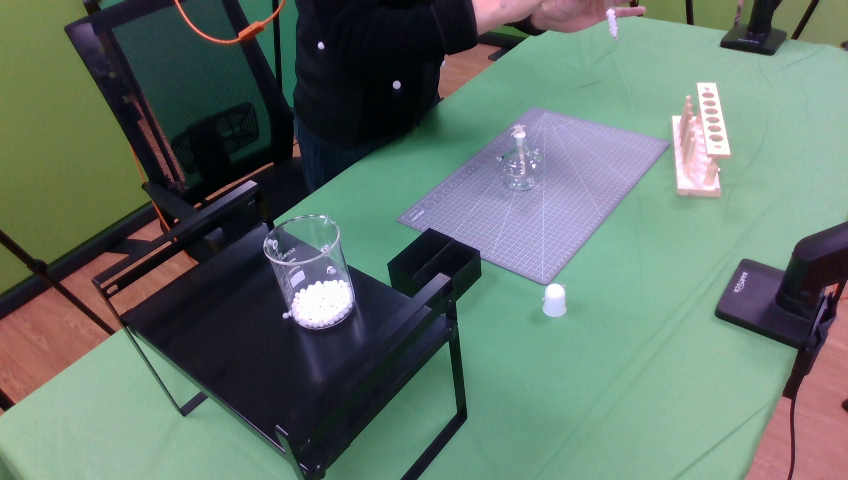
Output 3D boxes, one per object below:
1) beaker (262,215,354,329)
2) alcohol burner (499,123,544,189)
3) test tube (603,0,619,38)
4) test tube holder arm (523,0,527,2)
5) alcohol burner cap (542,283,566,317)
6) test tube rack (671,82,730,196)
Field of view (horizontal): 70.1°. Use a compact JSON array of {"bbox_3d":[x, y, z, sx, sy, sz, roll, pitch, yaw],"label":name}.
[{"bbox_3d":[-0.112,0.034,0.616,0.073,0.101,0.084,13,44,22],"label":"beaker"},{"bbox_3d":[0.169,-0.149,1.048,0.078,0.119,0.077,-6,41,5],"label":"alcohol burner"},{"bbox_3d":[0.284,-0.386,0.941,0.017,0.151,0.017,-16,36,13],"label":"test tube"},{"bbox_3d":[0.212,-0.396,0.881,0.179,0.015,0.013,-36,70,-13],"label":"test tube holder arm"},{"bbox_3d":[0.182,0.081,0.839,0.034,0.048,0.033,-4,41,4],"label":"alcohol burner cap"},{"bbox_3d":[0.482,-0.184,1.067,0.066,0.085,0.242,6,42,14],"label":"test tube rack"}]
